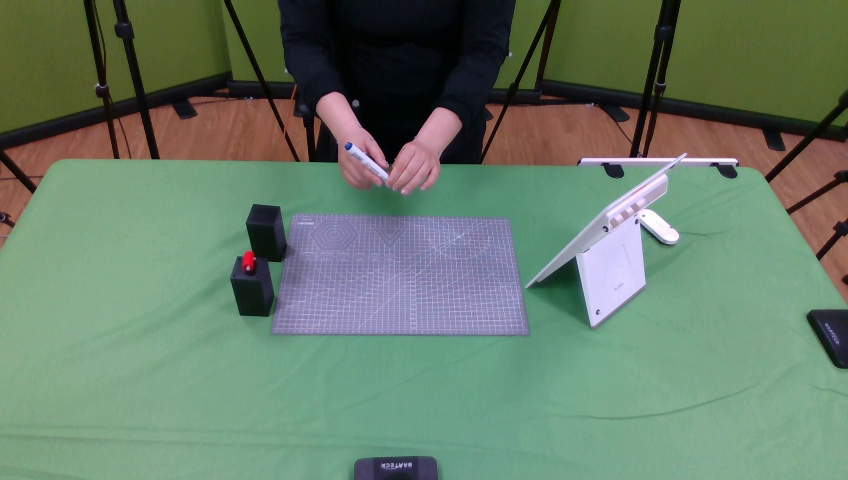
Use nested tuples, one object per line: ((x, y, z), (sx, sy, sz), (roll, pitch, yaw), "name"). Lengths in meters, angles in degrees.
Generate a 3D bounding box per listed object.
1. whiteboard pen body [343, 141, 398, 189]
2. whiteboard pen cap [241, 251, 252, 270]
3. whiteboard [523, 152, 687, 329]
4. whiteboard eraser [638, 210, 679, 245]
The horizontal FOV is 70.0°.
((-0.088, -0.125, 1.047), (0.017, 0.141, 0.016), (-22, 49, 29), "whiteboard pen body")
((-0.294, 0.033, 1.005), (0.017, 0.017, 0.032), (-3, 45, -7), "whiteboard pen cap")
((0.346, 0.024, 1.047), (0.217, 0.306, 0.143), (-30, 74, -29), "whiteboard")
((0.485, -0.027, 1.260), (0.041, 0.019, 0.100), (-21, 50, -21), "whiteboard eraser")
